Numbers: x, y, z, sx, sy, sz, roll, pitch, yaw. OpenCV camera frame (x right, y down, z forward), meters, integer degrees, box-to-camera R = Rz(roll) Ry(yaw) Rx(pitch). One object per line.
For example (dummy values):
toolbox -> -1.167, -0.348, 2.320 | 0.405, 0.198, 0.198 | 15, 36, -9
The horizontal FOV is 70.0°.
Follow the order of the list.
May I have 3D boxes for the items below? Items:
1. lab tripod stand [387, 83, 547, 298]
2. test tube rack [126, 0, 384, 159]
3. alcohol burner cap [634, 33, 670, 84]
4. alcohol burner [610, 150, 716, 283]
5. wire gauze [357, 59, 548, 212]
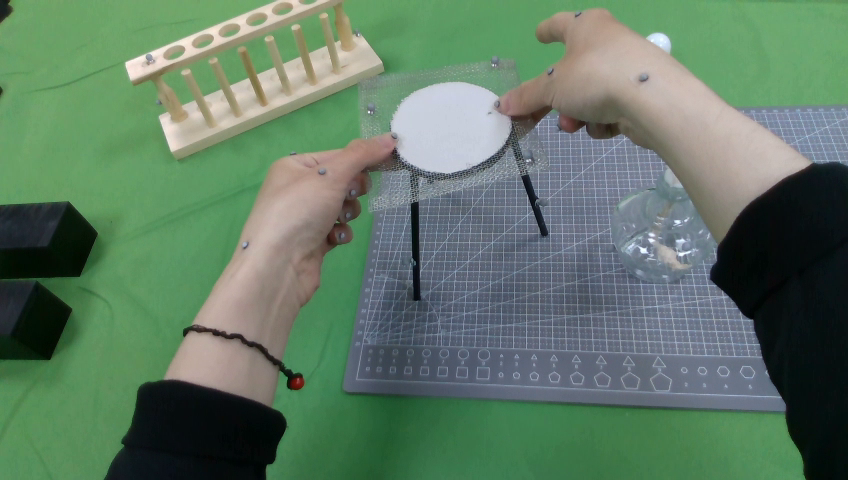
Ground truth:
lab tripod stand -> 0.025, -0.040, 0.478 | 0.148, 0.133, 0.147 | -3, 57, 6
test tube rack -> -0.171, -0.183, 0.640 | 0.242, 0.086, 0.066 | -26, 56, -10
alcohol burner cap -> 0.231, -0.184, 0.608 | 0.034, 0.048, 0.033 | -5, 55, 7
alcohol burner -> 0.181, -0.020, 0.454 | 0.078, 0.120, 0.077 | -4, 52, 6
wire gauze -> 0.015, -0.081, 0.425 | 0.121, 0.011, 0.124 | -10, 57, 2
